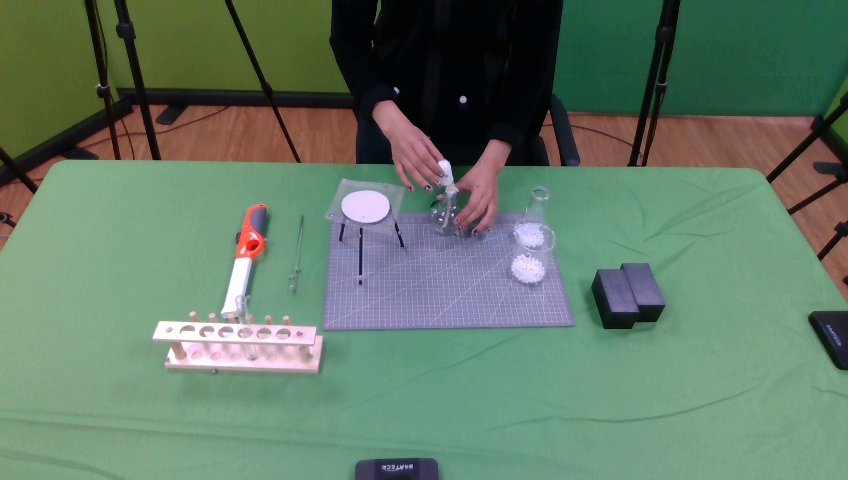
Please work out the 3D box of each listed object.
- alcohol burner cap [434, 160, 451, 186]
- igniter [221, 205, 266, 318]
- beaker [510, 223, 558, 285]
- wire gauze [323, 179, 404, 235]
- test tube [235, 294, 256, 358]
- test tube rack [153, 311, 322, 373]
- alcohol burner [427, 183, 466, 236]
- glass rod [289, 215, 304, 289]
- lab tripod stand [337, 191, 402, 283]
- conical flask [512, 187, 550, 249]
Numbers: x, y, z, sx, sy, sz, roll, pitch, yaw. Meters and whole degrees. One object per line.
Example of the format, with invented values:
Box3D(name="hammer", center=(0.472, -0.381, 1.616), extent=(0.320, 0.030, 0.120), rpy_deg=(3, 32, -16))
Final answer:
Box3D(name="alcohol burner cap", center=(0.034, -0.128, 1.136), extent=(0.034, 0.048, 0.033), rpy_deg=(-4, 49, 4))
Box3D(name="igniter", center=(-0.337, 0.031, 1.140), extent=(0.057, 0.025, 0.274), rpy_deg=(-6, 46, 3))
Box3D(name="beaker", center=(0.199, 0.028, 1.132), extent=(0.083, 0.101, 0.074), rpy_deg=(26, 50, 21))
Box3D(name="wire gauze", center=(-0.106, -0.064, 1.078), extent=(0.125, 0.011, 0.121), rpy_deg=(11, 45, 5))
Box3D(name="test tube", center=(-0.274, 0.136, 0.933), extent=(0.017, 0.151, 0.017), rpy_deg=(4, 45, -4))
Box3D(name="test tube rack", center=(-0.293, 0.160, 0.977), extent=(0.242, 0.085, 0.066), rpy_deg=(3, 46, -2))
Box3D(name="alcohol burner", center=(0.047, -0.066, 1.201), extent=(0.078, 0.119, 0.077), rpy_deg=(4, 45, -4))
Box3D(name="glass rod", center=(-0.246, 0.019, 1.171), extent=(0.008, 0.008, 0.198), rpy_deg=(1, 44, -3))
Box3D(name="lab tripod stand", center=(-0.106, -0.016, 1.125), extent=(0.148, 0.132, 0.147), rpy_deg=(3, 44, -2))
Box3D(name="conical flask", center=(0.217, -0.048, 1.190), extent=(0.075, 0.122, 0.075), rpy_deg=(2, 46, -2))
